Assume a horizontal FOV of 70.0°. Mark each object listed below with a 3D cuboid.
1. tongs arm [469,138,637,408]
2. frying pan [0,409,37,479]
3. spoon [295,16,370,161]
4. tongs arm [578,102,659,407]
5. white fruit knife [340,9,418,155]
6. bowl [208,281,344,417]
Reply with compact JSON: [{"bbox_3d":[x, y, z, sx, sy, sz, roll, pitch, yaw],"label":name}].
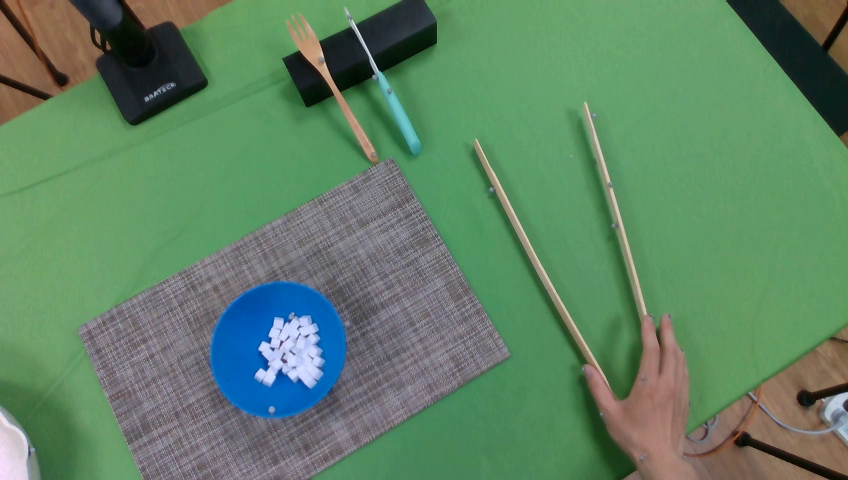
[{"bbox_3d":[0.150,0.036,0.753,0.028,0.028,0.385,-26,78,-7],"label":"tongs arm"},{"bbox_3d":[-0.520,0.384,0.640,0.307,0.103,0.484,-30,70,-5],"label":"frying pan"},{"bbox_3d":[-0.115,-0.191,0.778,0.041,0.021,0.194,-19,98,18],"label":"spoon"},{"bbox_3d":[0.228,0.010,0.754,0.051,0.026,0.382,-14,78,-1],"label":"tongs arm"},{"bbox_3d":[-0.061,-0.206,0.787,0.016,0.027,0.207,-29,92,-11],"label":"white fruit knife"},{"bbox_3d":[-0.163,0.128,0.706,0.151,0.077,0.150,0,76,1],"label":"bowl"}]
